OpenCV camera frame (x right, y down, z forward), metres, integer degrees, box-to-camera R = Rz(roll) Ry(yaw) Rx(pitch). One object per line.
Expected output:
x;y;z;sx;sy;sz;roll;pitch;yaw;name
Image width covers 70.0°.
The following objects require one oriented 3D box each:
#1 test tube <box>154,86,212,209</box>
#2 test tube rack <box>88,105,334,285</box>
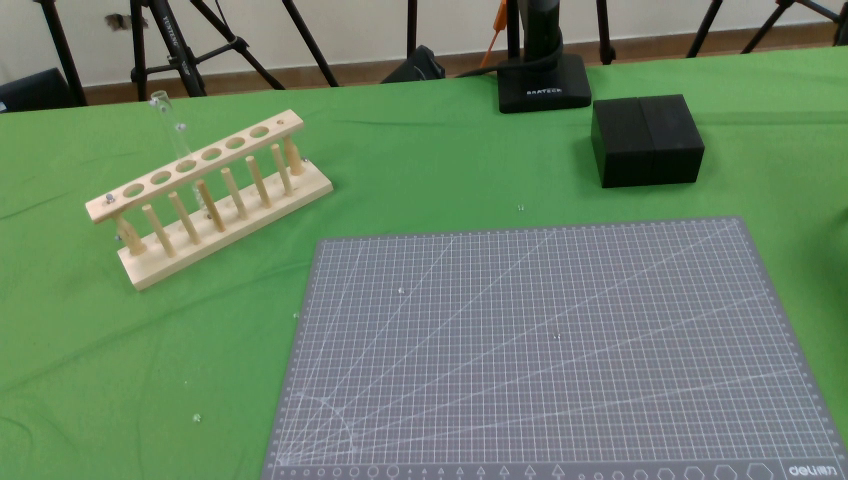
-0.254;-0.095;0.654;0.017;0.152;0.017;-5;41;4;test tube
-0.230;-0.055;0.682;0.242;0.086;0.066;-30;50;-19;test tube rack
